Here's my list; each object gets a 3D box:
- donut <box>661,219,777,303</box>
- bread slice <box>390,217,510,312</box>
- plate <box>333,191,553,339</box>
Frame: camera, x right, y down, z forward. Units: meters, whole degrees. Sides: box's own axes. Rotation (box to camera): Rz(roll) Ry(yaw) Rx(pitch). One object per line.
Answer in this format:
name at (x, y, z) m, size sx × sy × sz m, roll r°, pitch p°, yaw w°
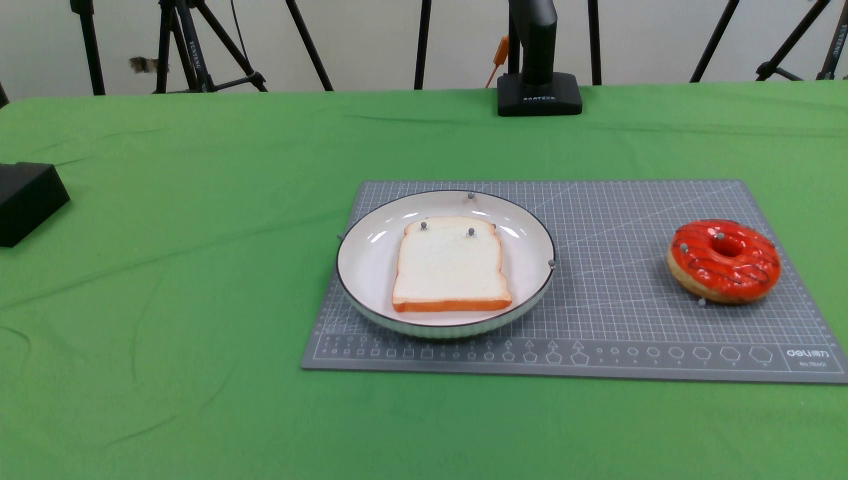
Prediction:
donut at (0.272, 0.019, 0.561) m, size 0.099 × 0.048 × 0.098 m, roll -1°, pitch 39°, yaw 1°
bread slice at (0.021, 0.021, 0.588) m, size 0.107 × 0.018 × 0.133 m, roll -3°, pitch 38°, yaw -1°
plate at (0.018, 0.023, 0.584) m, size 0.209 × 0.038 × 0.207 m, roll -2°, pitch 37°, yaw 2°
